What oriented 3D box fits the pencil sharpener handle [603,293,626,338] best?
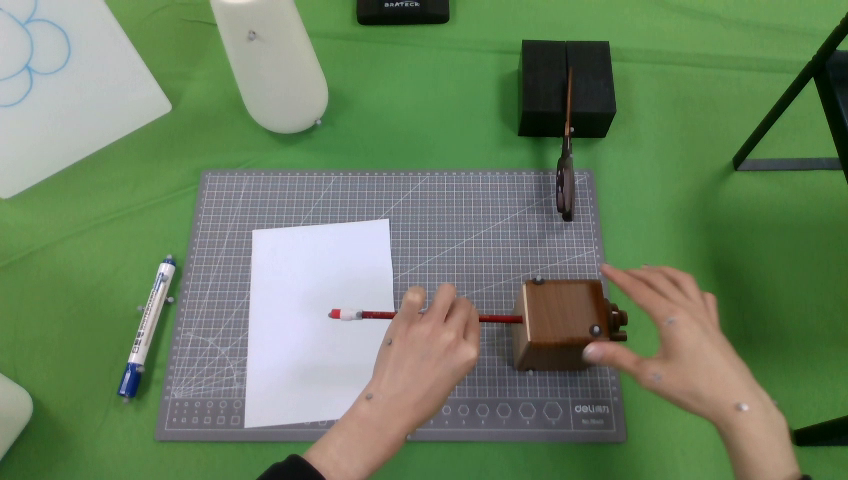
[{"bbox_3d":[0.175,0.073,0.553,0.030,0.068,0.035,-1,60,0],"label":"pencil sharpener handle"}]

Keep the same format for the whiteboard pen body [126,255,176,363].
[{"bbox_3d":[-0.282,0.080,0.621,0.017,0.017,0.139,6,65,4],"label":"whiteboard pen body"}]

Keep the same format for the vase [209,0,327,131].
[{"bbox_3d":[-0.166,-0.205,0.647,0.098,0.201,0.097,-1,65,2],"label":"vase"}]

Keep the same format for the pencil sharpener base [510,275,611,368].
[{"bbox_3d":[0.124,0.078,0.565,0.077,0.108,0.061,-1,66,0],"label":"pencil sharpener base"}]

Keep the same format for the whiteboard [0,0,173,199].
[{"bbox_3d":[-0.460,-0.239,0.641,0.217,0.309,0.142,-32,50,-12],"label":"whiteboard"}]

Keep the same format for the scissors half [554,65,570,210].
[{"bbox_3d":[0.151,-0.115,0.648,0.013,0.040,0.174,0,67,21],"label":"scissors half"}]

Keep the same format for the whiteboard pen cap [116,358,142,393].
[{"bbox_3d":[-0.288,0.133,0.596,0.018,0.018,0.033,6,62,4],"label":"whiteboard pen cap"}]

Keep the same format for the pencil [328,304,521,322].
[{"bbox_3d":[0.010,0.067,0.543,0.194,0.012,0.012,2,66,1],"label":"pencil"}]

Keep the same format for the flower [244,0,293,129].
[{"bbox_3d":[-0.175,-0.252,0.577,0.044,0.365,0.038,-7,49,2],"label":"flower"}]

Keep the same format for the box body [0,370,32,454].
[{"bbox_3d":[-0.578,0.149,0.517,0.363,0.161,0.253,25,69,11],"label":"box body"}]

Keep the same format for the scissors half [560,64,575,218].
[{"bbox_3d":[0.159,-0.110,0.666,0.012,0.040,0.175,-1,85,26],"label":"scissors half"}]
